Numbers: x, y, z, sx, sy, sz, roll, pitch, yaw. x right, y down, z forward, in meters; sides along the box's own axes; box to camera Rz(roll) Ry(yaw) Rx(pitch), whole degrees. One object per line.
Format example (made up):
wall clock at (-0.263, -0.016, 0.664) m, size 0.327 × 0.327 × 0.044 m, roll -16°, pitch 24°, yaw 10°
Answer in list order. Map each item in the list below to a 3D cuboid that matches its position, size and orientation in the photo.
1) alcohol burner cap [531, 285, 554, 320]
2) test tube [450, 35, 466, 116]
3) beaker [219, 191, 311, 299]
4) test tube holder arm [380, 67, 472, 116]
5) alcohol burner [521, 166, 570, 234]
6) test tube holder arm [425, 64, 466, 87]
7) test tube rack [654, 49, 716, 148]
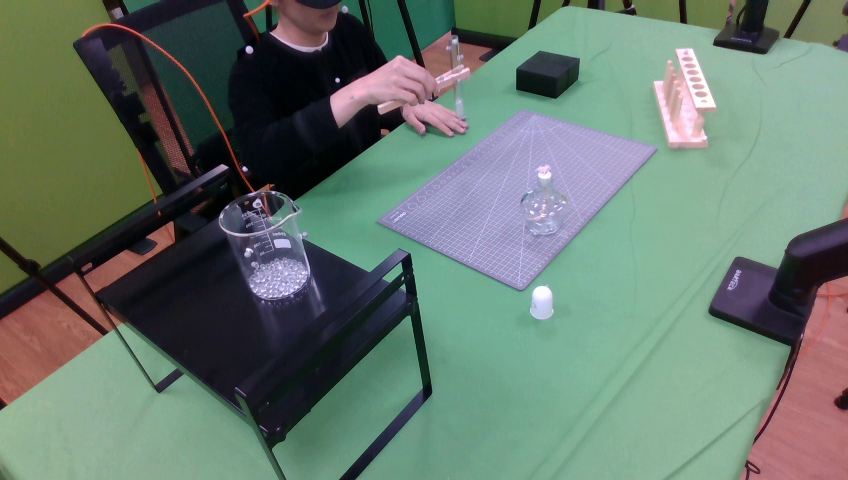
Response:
alcohol burner cap at (0.164, 0.084, 0.838) m, size 0.034 × 0.048 × 0.033 m, roll -4°, pitch 40°, yaw 4°
test tube at (0.060, -0.280, 1.040) m, size 0.017 × 0.151 × 0.017 m, roll -5°, pitch 45°, yaw 6°
beaker at (-0.164, 0.008, 0.654) m, size 0.084 × 0.101 × 0.073 m, roll -10°, pitch 41°, yaw -3°
test tube holder arm at (0.005, -0.250, 1.010) m, size 0.179 × 0.015 × 0.013 m, roll -30°, pitch 44°, yaw -19°
alcohol burner at (0.192, -0.068, 0.951) m, size 0.078 × 0.119 × 0.077 m, roll -4°, pitch 42°, yaw 4°
test tube holder arm at (0.038, -0.275, 1.030) m, size 0.088 × 0.015 × 0.010 m, roll -35°, pitch 46°, yaw -24°
test tube rack at (0.502, -0.281, 1.176) m, size 0.066 × 0.085 × 0.241 m, roll 2°, pitch 41°, yaw 11°
